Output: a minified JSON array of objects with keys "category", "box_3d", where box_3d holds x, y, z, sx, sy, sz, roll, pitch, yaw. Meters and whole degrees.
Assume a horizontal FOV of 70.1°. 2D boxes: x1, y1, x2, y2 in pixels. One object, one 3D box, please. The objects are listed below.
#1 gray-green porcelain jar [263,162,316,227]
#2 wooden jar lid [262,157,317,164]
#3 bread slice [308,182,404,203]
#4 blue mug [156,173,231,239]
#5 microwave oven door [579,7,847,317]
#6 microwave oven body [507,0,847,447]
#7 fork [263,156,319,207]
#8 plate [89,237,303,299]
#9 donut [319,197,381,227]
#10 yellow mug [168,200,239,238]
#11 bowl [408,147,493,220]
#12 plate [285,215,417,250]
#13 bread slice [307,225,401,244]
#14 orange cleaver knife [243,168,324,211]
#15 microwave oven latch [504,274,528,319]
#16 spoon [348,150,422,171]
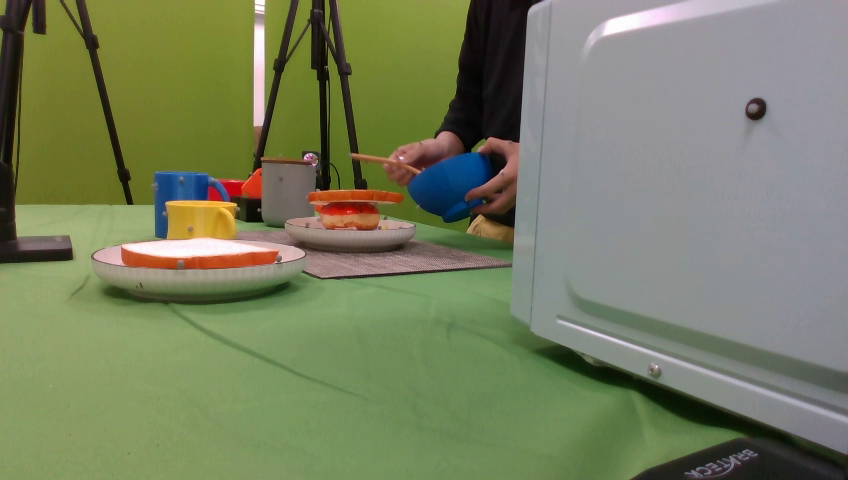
[{"category":"gray-green porcelain jar","box_3d":[-0.271,-0.092,1.217,0.106,0.126,0.106,2,7,0]},{"category":"wooden jar lid","box_3d":[-0.269,-0.154,1.208,0.108,0.020,0.108,3,4,0]},{"category":"bread slice","box_3d":[-0.114,-0.073,0.953,0.134,0.018,0.107,-4,-2,22]},{"category":"blue mug","box_3d":[-0.381,-0.057,1.004,0.117,0.106,0.082,1,8,-12]},{"category":"microwave oven door","box_3d":[0.294,-0.067,0.570,0.358,0.243,0.039,-3,9,-31]},{"category":"microwave oven body","box_3d":[0.331,-0.042,0.425,0.444,0.260,0.324,-2,8,-31]},{"category":"fork","box_3d":[-0.331,-0.144,1.506,0.207,0.018,0.028,-42,-20,22]},{"category":"plate","box_3d":[-0.233,0.029,0.637,0.208,0.039,0.207,2,7,0]},{"category":"donut","box_3d":[-0.118,-0.042,0.965,0.099,0.048,0.099,-9,-7,-1]},{"category":"yellow mug","box_3d":[-0.320,-0.023,0.904,0.130,0.064,0.100,9,11,36]},{"category":"bowl","box_3d":[0.056,-0.085,1.016,0.151,0.076,0.151,-21,-13,-4]},{"category":"plate","box_3d":[-0.116,-0.014,0.964,0.209,0.038,0.209,2,7,0]},{"category":"bread slice","box_3d":[-0.103,-0.009,0.962,0.131,0.019,0.105,1,9,26]},{"category":"orange cleaver knife","box_3d":[-0.300,-0.089,1.351,0.212,0.077,0.012,28,-9,-34]},{"category":"microwave oven latch","box_3d":[0.100,0.041,0.471,0.079,0.029,0.030,-1,7,-28]},{"category":"spoon","box_3d":[-0.042,-0.133,1.039,0.193,0.021,0.042,18,17,15]}]
